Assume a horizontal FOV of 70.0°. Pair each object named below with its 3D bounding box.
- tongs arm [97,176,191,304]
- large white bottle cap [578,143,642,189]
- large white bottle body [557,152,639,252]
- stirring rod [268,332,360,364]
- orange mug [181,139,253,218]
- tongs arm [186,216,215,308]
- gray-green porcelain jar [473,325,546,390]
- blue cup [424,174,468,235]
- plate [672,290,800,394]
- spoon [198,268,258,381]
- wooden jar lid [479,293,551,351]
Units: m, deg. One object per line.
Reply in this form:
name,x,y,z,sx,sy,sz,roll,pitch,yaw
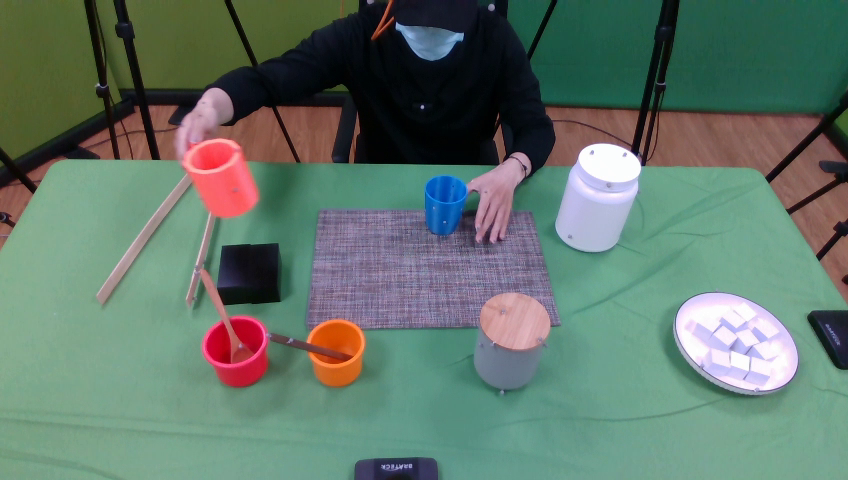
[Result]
tongs arm,-0.520,-0.028,1.183,0.028,0.028,0.385,5,45,12
large white bottle cap,0.344,-0.139,1.123,0.115,0.018,0.114,2,46,-2
large white bottle body,0.340,-0.081,1.184,0.131,0.185,0.130,2,46,-1
stirring rod,-0.167,0.169,0.942,0.177,0.006,0.014,26,26,-41
orange mug,-0.342,-0.109,0.985,0.083,0.101,0.125,-34,57,-23
tongs arm,-0.436,-0.024,1.181,0.051,0.026,0.382,-2,45,0
gray-green porcelain jar,0.135,0.170,0.969,0.106,0.127,0.105,2,46,-2
blue cup,0.039,-0.065,1.201,0.093,0.101,0.092,3,47,-3
plate,0.533,0.178,1.050,0.208,0.039,0.206,2,46,-2
spoon,-0.313,0.133,0.962,0.041,0.021,0.194,-24,95,-30
wooden jar lid,0.138,0.127,0.925,0.108,0.021,0.107,1,47,-1
